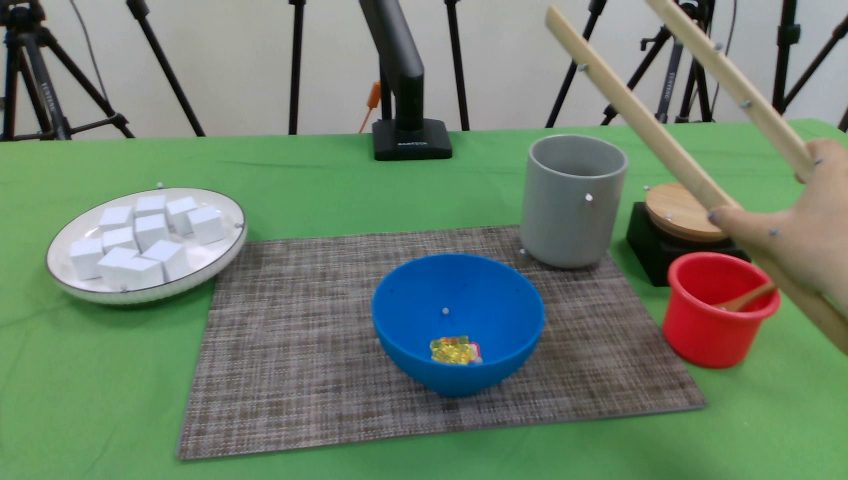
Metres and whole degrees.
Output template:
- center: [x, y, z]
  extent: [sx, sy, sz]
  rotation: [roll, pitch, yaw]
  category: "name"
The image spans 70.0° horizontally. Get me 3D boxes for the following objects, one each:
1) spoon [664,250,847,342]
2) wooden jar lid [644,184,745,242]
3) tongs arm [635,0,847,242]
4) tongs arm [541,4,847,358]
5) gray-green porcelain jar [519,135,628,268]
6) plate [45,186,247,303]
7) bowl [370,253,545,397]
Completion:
- center: [0.315, 0.048, 0.558]
  extent: [0.194, 0.022, 0.041]
  rotation: [-34, 23, 29]
  category: "spoon"
- center: [0.306, -0.031, 0.692]
  extent: [0.108, 0.021, 0.107]
  rotation: [0, 35, 0]
  category: "wooden jar lid"
- center: [0.249, -0.079, 0.467]
  extent: [0.051, 0.027, 0.381]
  rotation: [-23, 63, -9]
  category: "tongs arm"
- center: [0.202, -0.059, 0.460]
  extent: [0.028, 0.028, 0.384]
  rotation: [-26, 63, -14]
  category: "tongs arm"
- center: [0.164, -0.040, 0.686]
  extent: [0.106, 0.127, 0.105]
  rotation: [1, 35, 0]
  category: "gray-green porcelain jar"
- center: [-0.304, 0.006, 0.682]
  extent: [0.209, 0.038, 0.207]
  rotation: [0, 35, 0]
  category: "plate"
- center: [0.028, 0.086, 0.543]
  extent: [0.151, 0.077, 0.150]
  rotation: [1, 35, -1]
  category: "bowl"
